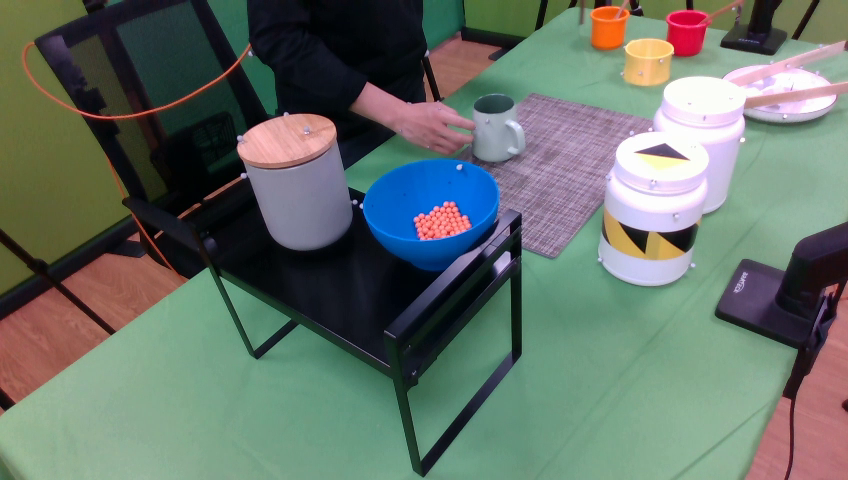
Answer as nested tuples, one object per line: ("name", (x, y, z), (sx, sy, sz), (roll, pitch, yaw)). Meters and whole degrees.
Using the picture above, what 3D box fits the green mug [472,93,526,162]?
("green mug", (0.144, -0.201, 1.122), (0.093, 0.105, 0.124), (-29, 45, -23))

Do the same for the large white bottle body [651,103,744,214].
("large white bottle body", (0.426, -0.146, 0.958), (0.130, 0.185, 0.130), (-4, 40, 4))

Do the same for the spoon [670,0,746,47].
("spoon", (0.629, -0.485, 1.350), (0.022, 0.193, 0.042), (48, 54, -7))

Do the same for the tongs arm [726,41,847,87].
("tongs arm", (0.712, -0.332, 1.194), (0.386, 0.026, 0.050), (-18, 45, -16))

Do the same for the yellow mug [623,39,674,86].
("yellow mug", (0.484, -0.398, 1.334), (0.100, 0.064, 0.130), (-18, 41, -11))

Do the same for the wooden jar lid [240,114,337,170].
("wooden jar lid", (-0.149, -0.106, 0.673), (0.108, 0.021, 0.108), (-6, 39, 5))

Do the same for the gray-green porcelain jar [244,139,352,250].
("gray-green porcelain jar", (-0.144, -0.060, 0.714), (0.106, 0.127, 0.105), (-4, 41, 4))

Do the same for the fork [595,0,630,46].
("fork", (0.480, -0.556, 1.452), (0.028, 0.019, 0.207), (42, 104, 39))

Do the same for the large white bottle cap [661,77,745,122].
("large white bottle cap", (0.415, -0.210, 0.904), (0.115, 0.018, 0.114), (-4, 40, 4))

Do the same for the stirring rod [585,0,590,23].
("stirring rod", (0.321, -0.515, 1.176), (0.006, 0.176, 0.014), (-7, 23, -9))

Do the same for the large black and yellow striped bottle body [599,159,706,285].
("large black and yellow striped bottle body", (0.320, -0.042, 0.854), (0.131, 0.185, 0.130), (-4, 41, 4))

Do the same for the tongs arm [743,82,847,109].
("tongs arm", (0.738, -0.282, 1.134), (0.388, 0.028, 0.028), (-9, 46, -5))

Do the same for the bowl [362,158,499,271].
("bowl", (0.011, -0.019, 0.679), (0.151, 0.077, 0.150), (-5, 41, 5))

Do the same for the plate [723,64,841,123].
("plate", (0.695, -0.282, 1.189), (0.207, 0.039, 0.206), (-4, 40, 4))

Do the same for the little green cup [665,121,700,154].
("little green cup", (0.473, -0.188, 1.113), (0.061, 0.039, 0.061), (-6, 40, 5))

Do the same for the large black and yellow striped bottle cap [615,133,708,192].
("large black and yellow striped bottle cap", (0.312, -0.105, 0.798), (0.115, 0.019, 0.114), (-5, 41, 5))
